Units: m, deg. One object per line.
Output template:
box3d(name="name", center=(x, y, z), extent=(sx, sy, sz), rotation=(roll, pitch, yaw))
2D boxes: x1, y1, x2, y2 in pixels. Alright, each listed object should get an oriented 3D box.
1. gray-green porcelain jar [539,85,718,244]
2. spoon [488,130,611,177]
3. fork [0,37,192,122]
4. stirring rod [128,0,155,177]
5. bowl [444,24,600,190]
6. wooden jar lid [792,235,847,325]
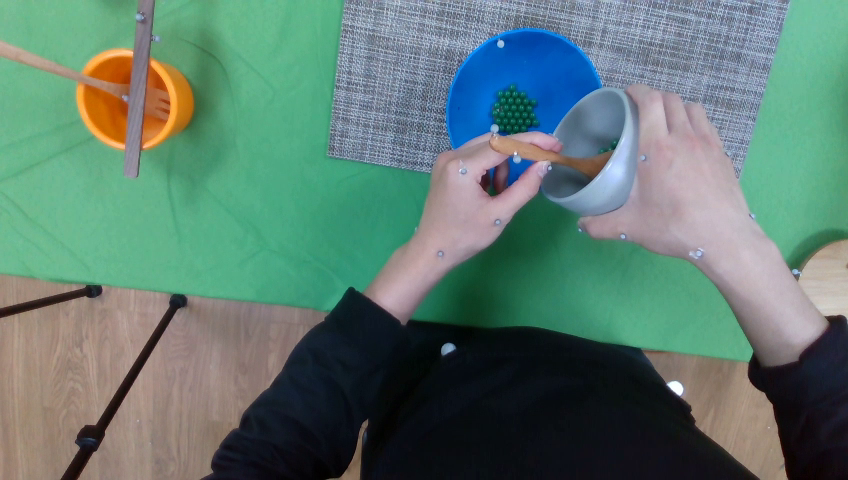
box3d(name="gray-green porcelain jar", center=(0.183, -0.060, 0.535), extent=(0.127, 0.105, 0.106), rotation=(23, 103, -23))
box3d(name="spoon", center=(0.117, -0.069, 0.510), extent=(0.195, 0.021, 0.042), rotation=(4, 105, -40))
box3d(name="fork", center=(-0.309, -0.149, 0.546), extent=(0.209, 0.018, 0.028), rotation=(15, 111, -51))
box3d(name="stirring rod", center=(-0.255, -0.144, 0.547), extent=(0.014, 0.006, 0.176), rotation=(10, 105, -4))
box3d(name="bowl", center=(0.092, -0.130, 0.602), extent=(0.151, 0.076, 0.152), rotation=(-1, 105, -2))
box3d(name="wooden jar lid", center=(0.477, 0.045, 0.702), extent=(0.108, 0.020, 0.109), rotation=(-1, 106, -2))
